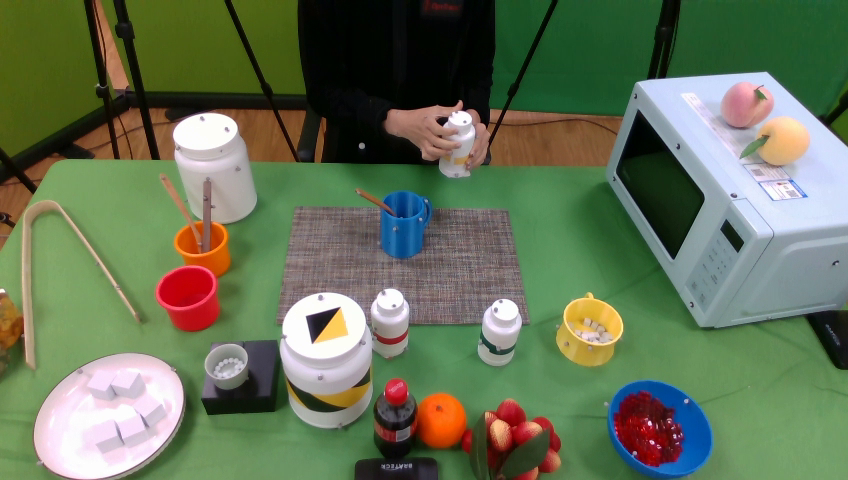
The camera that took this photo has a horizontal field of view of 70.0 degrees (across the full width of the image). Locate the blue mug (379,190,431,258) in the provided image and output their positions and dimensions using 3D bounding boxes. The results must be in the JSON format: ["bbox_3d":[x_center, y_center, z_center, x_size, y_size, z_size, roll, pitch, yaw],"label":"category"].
[{"bbox_3d":[-0.032,-0.037,1.169,0.116,0.106,0.082,-29,55,-28],"label":"blue mug"}]

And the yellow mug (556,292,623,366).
[{"bbox_3d":[0.285,0.145,1.051,0.100,0.064,0.130,7,45,3],"label":"yellow mug"}]

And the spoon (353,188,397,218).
[{"bbox_3d":[-0.069,-0.053,1.121,0.021,0.195,0.041,-36,51,11],"label":"spoon"}]

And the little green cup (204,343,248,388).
[{"bbox_3d":[-0.294,0.190,0.909,0.061,0.039,0.061,1,48,0],"label":"little green cup"}]

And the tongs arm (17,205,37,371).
[{"bbox_3d":[-0.698,0.071,1.069,0.028,0.028,0.385,-21,51,-13],"label":"tongs arm"}]

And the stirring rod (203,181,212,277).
[{"bbox_3d":[-0.396,-0.021,1.108,0.014,0.006,0.176,-1,89,-1],"label":"stirring rod"}]

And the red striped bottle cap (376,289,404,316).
[{"bbox_3d":[-0.055,0.098,0.958,0.044,0.018,0.044,0,48,0],"label":"red striped bottle cap"}]

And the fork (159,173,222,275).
[{"bbox_3d":[-0.427,-0.029,1.103,0.028,0.018,0.207,-31,99,-30],"label":"fork"}]

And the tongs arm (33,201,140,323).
[{"bbox_3d":[-0.623,0.035,1.105,0.051,0.026,0.382,-33,56,-25],"label":"tongs arm"}]

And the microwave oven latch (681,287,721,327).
[{"bbox_3d":[0.494,0.119,1.087,0.030,0.029,0.078,-6,46,-9],"label":"microwave oven latch"}]

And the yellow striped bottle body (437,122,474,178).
[{"bbox_3d":[0.061,-0.181,1.149,0.063,0.121,0.062,2,50,-3],"label":"yellow striped bottle body"}]

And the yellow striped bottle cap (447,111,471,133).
[{"bbox_3d":[0.064,-0.217,1.109,0.044,0.019,0.044,2,48,-2],"label":"yellow striped bottle cap"}]

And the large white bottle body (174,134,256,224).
[{"bbox_3d":[-0.407,-0.137,1.183,0.131,0.185,0.130,2,46,-2],"label":"large white bottle body"}]

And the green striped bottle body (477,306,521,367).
[{"bbox_3d":[0.124,0.151,0.995,0.063,0.120,0.063,2,46,-1],"label":"green striped bottle body"}]

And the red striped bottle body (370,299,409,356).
[{"bbox_3d":[-0.058,0.134,0.997,0.063,0.120,0.062,4,47,-4],"label":"red striped bottle body"}]

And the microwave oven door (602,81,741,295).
[{"bbox_3d":[0.456,-0.107,1.162,0.039,0.245,0.353,-6,47,-11],"label":"microwave oven door"}]

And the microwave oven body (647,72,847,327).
[{"bbox_3d":[0.607,-0.089,1.164,0.326,0.261,0.438,-7,46,-10],"label":"microwave oven body"}]

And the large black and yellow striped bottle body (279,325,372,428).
[{"bbox_3d":[-0.143,0.181,0.900,0.131,0.185,0.130,2,46,-2],"label":"large black and yellow striped bottle body"}]

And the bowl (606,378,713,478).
[{"bbox_3d":[0.340,0.292,0.906,0.151,0.077,0.150,2,46,-2],"label":"bowl"}]

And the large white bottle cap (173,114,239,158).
[{"bbox_3d":[-0.403,-0.195,1.122,0.115,0.018,0.114,2,47,-2],"label":"large white bottle cap"}]

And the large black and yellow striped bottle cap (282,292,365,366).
[{"bbox_3d":[-0.138,0.121,0.841,0.115,0.019,0.114,3,47,-3],"label":"large black and yellow striped bottle cap"}]

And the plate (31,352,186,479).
[{"bbox_3d":[-0.459,0.262,0.898,0.209,0.038,0.208,2,46,-2],"label":"plate"}]

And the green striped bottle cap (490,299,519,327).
[{"bbox_3d":[0.128,0.115,0.958,0.044,0.020,0.044,2,47,-2],"label":"green striped bottle cap"}]
